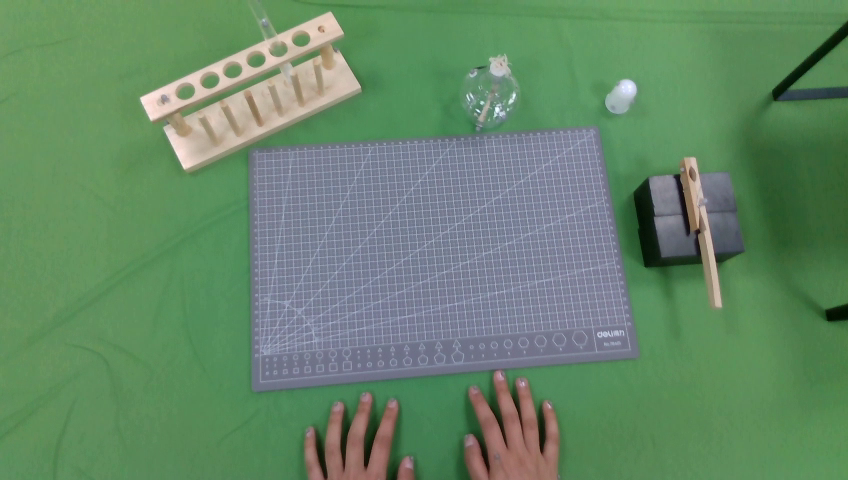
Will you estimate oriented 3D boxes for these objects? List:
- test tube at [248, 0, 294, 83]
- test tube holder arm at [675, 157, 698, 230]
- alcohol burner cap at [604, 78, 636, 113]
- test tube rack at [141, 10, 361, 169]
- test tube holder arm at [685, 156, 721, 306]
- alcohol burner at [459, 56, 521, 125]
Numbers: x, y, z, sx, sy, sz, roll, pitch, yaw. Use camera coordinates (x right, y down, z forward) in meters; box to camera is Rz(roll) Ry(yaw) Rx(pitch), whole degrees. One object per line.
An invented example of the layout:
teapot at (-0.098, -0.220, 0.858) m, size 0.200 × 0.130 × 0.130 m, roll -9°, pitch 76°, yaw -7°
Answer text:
test tube at (-0.174, -0.233, 0.700) m, size 0.017 × 0.151 × 0.017 m, roll -3°, pitch 65°, yaw 6°
test tube holder arm at (0.311, -0.055, 0.713) m, size 0.010 × 0.015 × 0.087 m, roll -5°, pitch 77°, yaw -5°
alcohol burner cap at (0.256, -0.189, 0.785) m, size 0.034 × 0.048 × 0.033 m, roll 0°, pitch 74°, yaw -1°
test tube rack at (-0.202, -0.182, 0.738) m, size 0.242 × 0.085 × 0.066 m, roll -28°, pitch 77°, yaw -9°
test tube holder arm at (0.321, -0.012, 0.703) m, size 0.013 × 0.015 × 0.177 m, roll -5°, pitch 77°, yaw -5°
alcohol burner at (0.083, -0.190, 0.740) m, size 0.078 × 0.119 × 0.077 m, roll 1°, pitch 76°, yaw -3°
